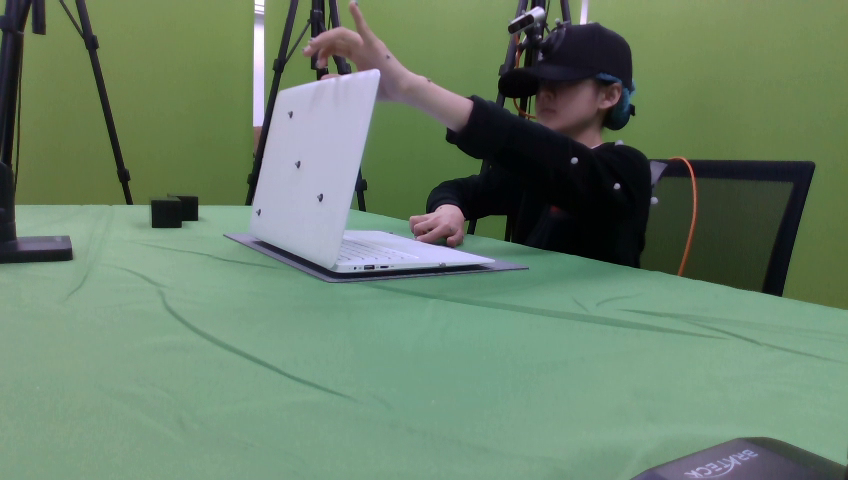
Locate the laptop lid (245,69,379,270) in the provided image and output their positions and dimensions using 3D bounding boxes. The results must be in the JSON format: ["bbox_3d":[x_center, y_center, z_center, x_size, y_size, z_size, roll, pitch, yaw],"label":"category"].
[{"bbox_3d":[-0.168,-0.101,0.817,0.013,0.241,0.355,13,2,-33],"label":"laptop lid"}]

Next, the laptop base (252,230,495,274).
[{"bbox_3d":[-0.093,0.015,0.883,0.237,0.023,0.352,3,6,-33],"label":"laptop base"}]
